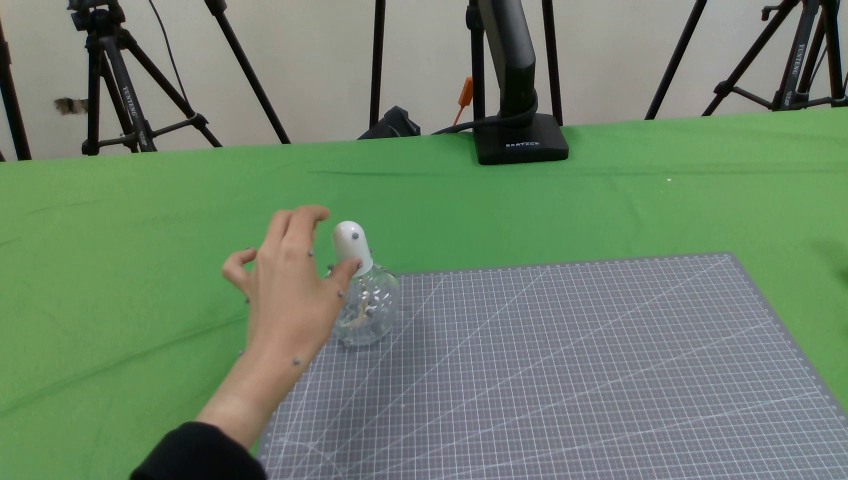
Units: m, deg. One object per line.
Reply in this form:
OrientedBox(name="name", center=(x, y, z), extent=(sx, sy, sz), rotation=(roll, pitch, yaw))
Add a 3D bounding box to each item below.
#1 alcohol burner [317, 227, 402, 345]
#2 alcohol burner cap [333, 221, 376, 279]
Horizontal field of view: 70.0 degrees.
OrientedBox(name="alcohol burner", center=(-0.058, 0.035, 0.533), extent=(0.078, 0.120, 0.077), rotation=(-1, 38, 1))
OrientedBox(name="alcohol burner cap", center=(-0.060, 0.006, 0.511), extent=(0.034, 0.048, 0.033), rotation=(-4, 39, 4))
